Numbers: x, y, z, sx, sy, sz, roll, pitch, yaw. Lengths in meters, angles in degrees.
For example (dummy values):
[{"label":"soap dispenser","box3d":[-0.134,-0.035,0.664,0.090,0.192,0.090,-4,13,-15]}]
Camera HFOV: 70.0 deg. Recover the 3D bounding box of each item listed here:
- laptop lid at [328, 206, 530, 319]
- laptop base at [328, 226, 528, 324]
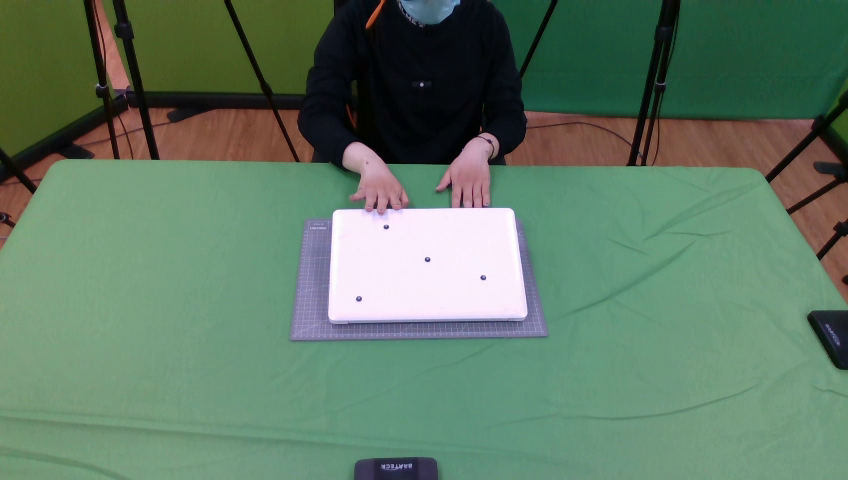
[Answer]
[{"label":"laptop lid","box3d":[0.007,0.035,1.105,0.357,0.013,0.240,1,58,-3]},{"label":"laptop base","box3d":[0.005,0.061,1.137,0.355,0.023,0.234,0,43,-4]}]
